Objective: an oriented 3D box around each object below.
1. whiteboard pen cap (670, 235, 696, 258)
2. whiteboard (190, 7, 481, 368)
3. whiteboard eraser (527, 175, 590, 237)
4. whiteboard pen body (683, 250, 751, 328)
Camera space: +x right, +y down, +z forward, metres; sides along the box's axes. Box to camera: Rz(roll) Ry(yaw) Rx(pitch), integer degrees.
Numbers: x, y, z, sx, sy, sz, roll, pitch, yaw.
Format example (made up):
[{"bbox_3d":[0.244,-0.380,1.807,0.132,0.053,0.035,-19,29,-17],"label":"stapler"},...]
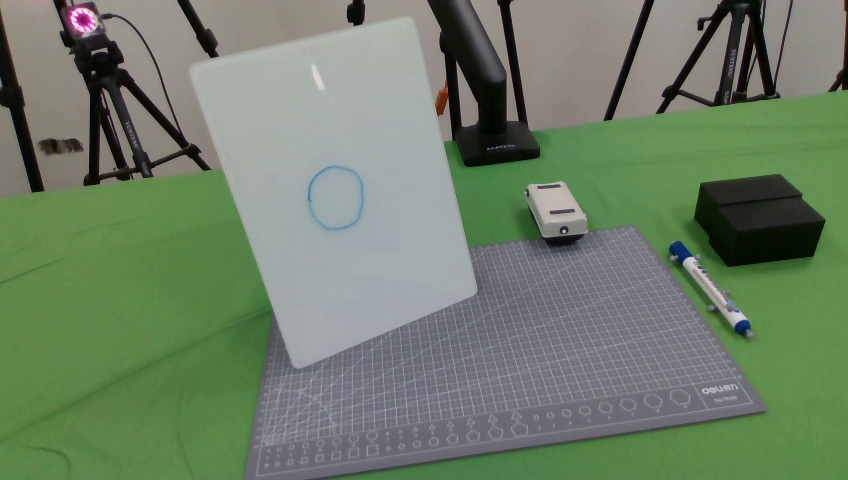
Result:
[{"bbox_3d":[0.298,0.009,0.695,0.018,0.018,0.033,-9,34,-4],"label":"whiteboard pen cap"},{"bbox_3d":[-0.093,-0.061,0.652,0.217,0.307,0.142,-21,19,-19],"label":"whiteboard"},{"bbox_3d":[0.168,-0.044,0.768,0.055,0.042,0.111,-8,32,1],"label":"whiteboard eraser"},{"bbox_3d":[0.306,0.043,0.649,0.017,0.017,0.139,-8,35,-3],"label":"whiteboard pen body"}]
